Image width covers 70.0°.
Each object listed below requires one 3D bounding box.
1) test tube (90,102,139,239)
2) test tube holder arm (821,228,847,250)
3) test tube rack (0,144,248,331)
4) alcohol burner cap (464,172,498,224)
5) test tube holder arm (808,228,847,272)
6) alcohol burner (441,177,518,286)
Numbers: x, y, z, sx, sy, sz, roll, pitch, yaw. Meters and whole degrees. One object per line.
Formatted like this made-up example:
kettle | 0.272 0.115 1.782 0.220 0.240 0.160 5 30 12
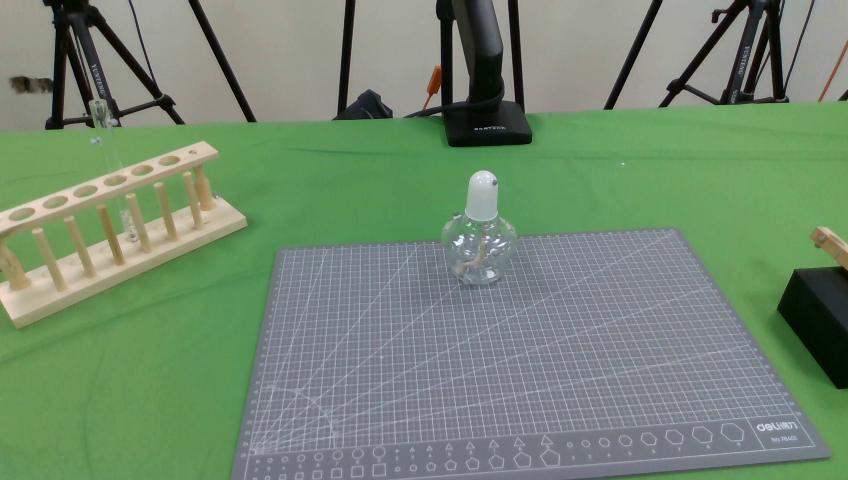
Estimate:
test tube | -0.313 -0.067 0.617 0.017 0.151 0.017 2 32 -1
test tube holder arm | 0.404 0.045 0.522 0.013 0.015 0.176 -6 38 -14
test tube rack | -0.314 -0.012 0.626 0.242 0.086 0.066 -29 46 -33
alcohol burner cap | 0.056 -0.043 0.576 0.034 0.048 0.033 1 36 -1
test tube holder arm | 0.388 0.019 0.554 0.010 0.015 0.087 -5 38 -13
alcohol burner | 0.055 -0.013 0.598 0.078 0.120 0.077 1 39 0
